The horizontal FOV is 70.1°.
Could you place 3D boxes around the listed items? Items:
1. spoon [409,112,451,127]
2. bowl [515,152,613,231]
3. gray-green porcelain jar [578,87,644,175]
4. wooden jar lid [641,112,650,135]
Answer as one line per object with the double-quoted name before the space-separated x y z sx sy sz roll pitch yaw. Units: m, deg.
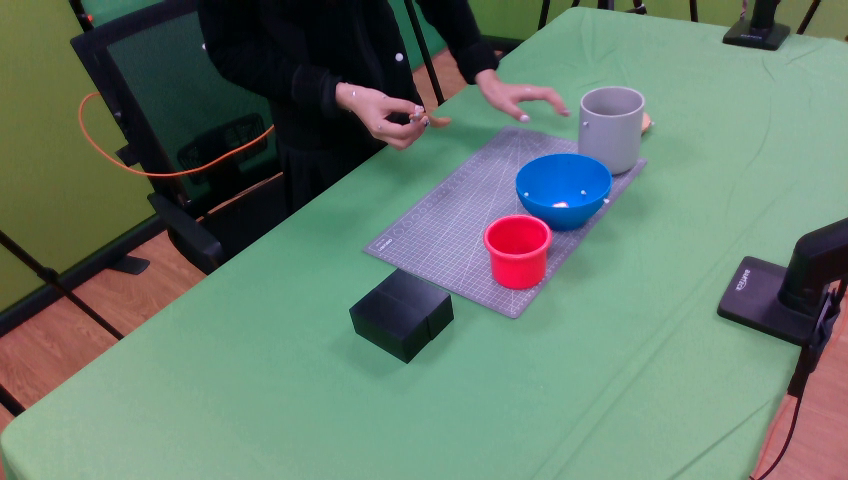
"spoon" 0.006 -0.202 1.003 0.041 0.021 0.194 -3 4 18
"bowl" 0.224 -0.068 0.972 0.151 0.077 0.150 -5 40 5
"gray-green porcelain jar" 0.324 -0.185 1.055 0.106 0.127 0.105 -5 40 5
"wooden jar lid" 0.382 -0.225 1.178 0.108 0.021 0.108 -5 40 4
